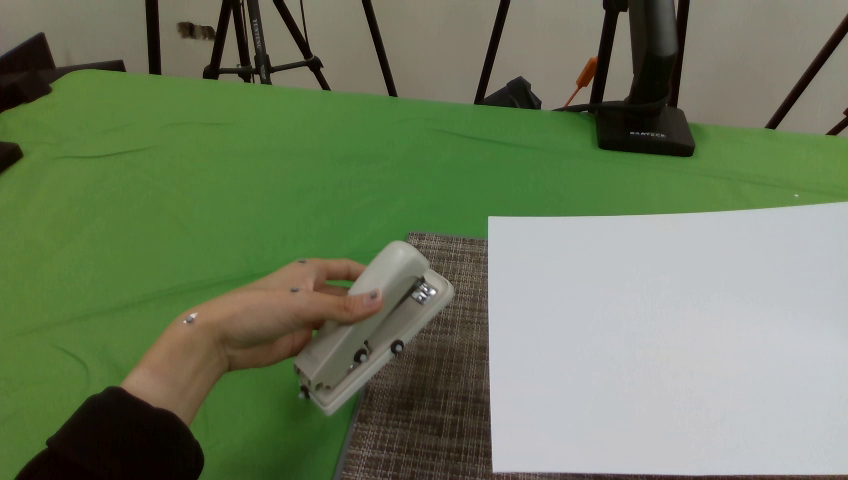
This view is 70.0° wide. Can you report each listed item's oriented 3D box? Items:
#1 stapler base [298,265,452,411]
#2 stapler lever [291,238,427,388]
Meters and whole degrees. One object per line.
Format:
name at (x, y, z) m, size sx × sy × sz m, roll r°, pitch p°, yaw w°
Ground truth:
stapler base at (-0.037, 0.062, 0.436) m, size 0.130 × 0.025 × 0.041 m, roll -43°, pitch 47°, yaw -17°
stapler lever at (-0.045, 0.047, 0.416) m, size 0.118 × 0.040 × 0.026 m, roll -43°, pitch 47°, yaw -17°
